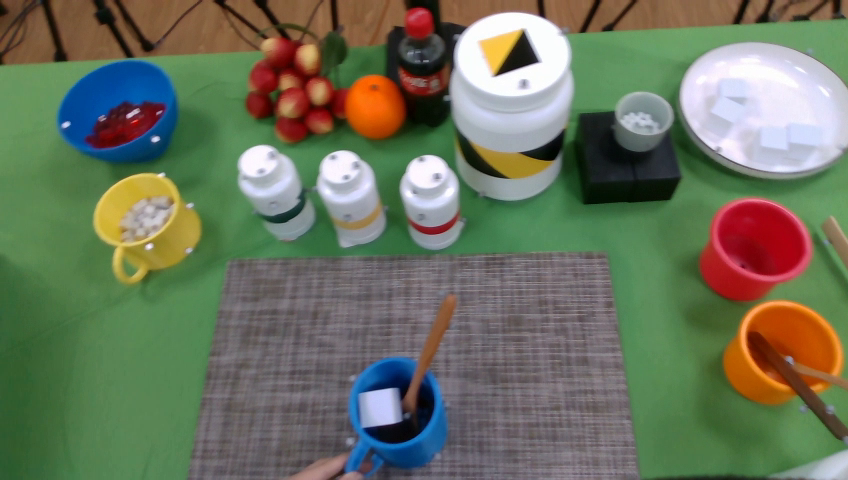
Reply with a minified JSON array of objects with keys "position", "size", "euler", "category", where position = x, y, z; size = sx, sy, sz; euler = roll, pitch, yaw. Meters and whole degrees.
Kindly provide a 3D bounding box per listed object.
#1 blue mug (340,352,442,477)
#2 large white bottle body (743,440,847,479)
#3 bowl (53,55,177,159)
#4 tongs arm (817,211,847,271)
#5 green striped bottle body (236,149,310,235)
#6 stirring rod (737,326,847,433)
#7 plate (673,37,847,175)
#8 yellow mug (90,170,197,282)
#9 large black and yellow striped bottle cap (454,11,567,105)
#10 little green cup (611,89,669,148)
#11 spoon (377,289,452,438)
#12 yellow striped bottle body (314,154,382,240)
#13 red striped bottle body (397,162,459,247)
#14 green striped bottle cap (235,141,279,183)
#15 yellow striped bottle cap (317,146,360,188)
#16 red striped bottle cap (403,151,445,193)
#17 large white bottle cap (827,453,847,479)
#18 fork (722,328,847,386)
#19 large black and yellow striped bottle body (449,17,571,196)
[{"position":[-0.036,0.174,0.573],"size":[0.082,0.107,0.116],"euler":[34,70,21],"category":"blue mug"},{"position":[0.334,0.230,0.471],"size":[0.130,0.186,0.129],"euler":[-2,62,4],"category":"large white bottle body"},{"position":[-0.389,-0.160,0.796],"size":[0.151,0.077,0.150],"euler":[-2,62,3],"category":"bowl"},{"position":[0.509,0.131,0.593],"size":[0.051,0.027,0.381],"euler":[-12,63,-4],"category":"tongs arm"},{"position":[-0.175,-0.060,0.702],"size":[0.063,0.120,0.062],"euler":[-2,62,3],"category":"green striped bottle body"},{"position":[0.331,0.121,0.557],"size":[0.014,0.006,0.175],"euler":[2,19,2],"category":"stirring rod"},{"position":[0.415,-0.164,0.754],"size":[0.209,0.038,0.207],"euler":[-2,63,4],"category":"plate"},{"position":[-0.337,-0.012,0.721],"size":[0.100,0.064,0.130],"euler":[8,64,8],"category":"yellow mug"},{"position":[0.087,-0.187,0.615],"size":[0.115,0.019,0.114],"euler":[-2,61,4],"category":"large black and yellow striped bottle cap"},{"position":[0.246,-0.138,0.697],"size":[0.061,0.039,0.061],"euler":[-1,60,2],"category":"little green cup"},{"position":[-0.007,0.123,0.549],"size":[0.041,0.195,0.022],"euler":[36,37,26],"category":"spoon"},{"position":[-0.087,-0.054,0.692],"size":[0.063,0.121,0.062],"euler":[-2,62,5],"category":"yellow striped bottle body"},{"position":[0.006,-0.046,0.681],"size":[0.063,0.121,0.062],"euler":[-3,61,6],"category":"red striped bottle body"},{"position":[-0.181,-0.085,0.656],"size":[0.044,0.020,0.044],"euler":[-1,63,2],"category":"green striped bottle cap"},{"position":[-0.091,-0.078,0.646],"size":[0.044,0.019,0.044],"euler":[-2,63,4],"category":"yellow striped bottle cap"},{"position":[0.000,-0.072,0.634],"size":[0.044,0.018,0.044],"euler":[0,61,1],"category":"red striped bottle cap"},{"position":[0.327,0.190,0.397],"size":[0.115,0.018,0.114],"euler":[-2,61,3],"category":"large white bottle cap"},{"position":[0.361,0.121,0.547],"size":[0.028,0.019,0.206],"euler":[-38,22,-12],"category":"fork"},{"position":[0.095,-0.149,0.690],"size":[0.131,0.185,0.129],"euler":[-2,62,4],"category":"large black and yellow striped bottle body"}]
